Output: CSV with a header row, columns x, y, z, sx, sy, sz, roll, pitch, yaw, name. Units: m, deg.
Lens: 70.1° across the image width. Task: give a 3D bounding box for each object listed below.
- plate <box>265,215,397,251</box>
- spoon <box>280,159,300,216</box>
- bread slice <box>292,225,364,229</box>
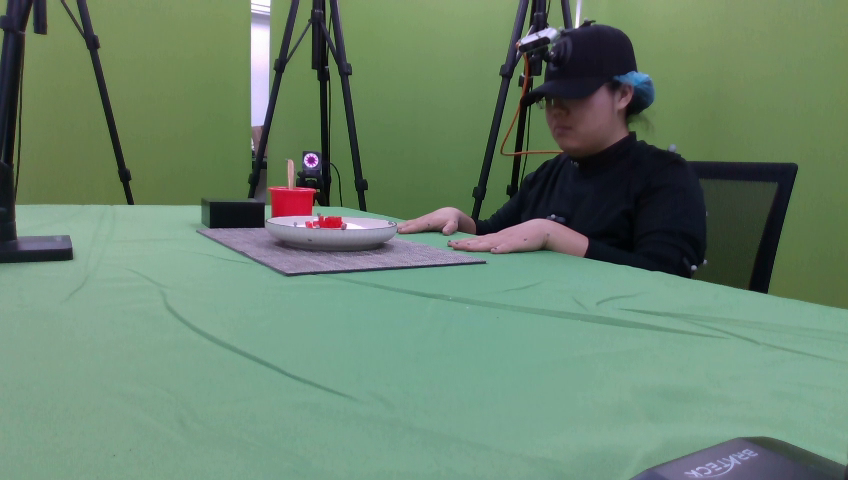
x,y,z,sx,sy,sz,roll,pitch,yaw,name
-0.147,-0.012,0.963,0.209,0.038,0.209,3,7,0,plate
-0.281,-0.108,1.276,0.042,0.021,0.193,-1,52,-10,spoon
-0.154,-0.012,0.973,0.132,0.019,0.104,-1,7,-31,bread slice
